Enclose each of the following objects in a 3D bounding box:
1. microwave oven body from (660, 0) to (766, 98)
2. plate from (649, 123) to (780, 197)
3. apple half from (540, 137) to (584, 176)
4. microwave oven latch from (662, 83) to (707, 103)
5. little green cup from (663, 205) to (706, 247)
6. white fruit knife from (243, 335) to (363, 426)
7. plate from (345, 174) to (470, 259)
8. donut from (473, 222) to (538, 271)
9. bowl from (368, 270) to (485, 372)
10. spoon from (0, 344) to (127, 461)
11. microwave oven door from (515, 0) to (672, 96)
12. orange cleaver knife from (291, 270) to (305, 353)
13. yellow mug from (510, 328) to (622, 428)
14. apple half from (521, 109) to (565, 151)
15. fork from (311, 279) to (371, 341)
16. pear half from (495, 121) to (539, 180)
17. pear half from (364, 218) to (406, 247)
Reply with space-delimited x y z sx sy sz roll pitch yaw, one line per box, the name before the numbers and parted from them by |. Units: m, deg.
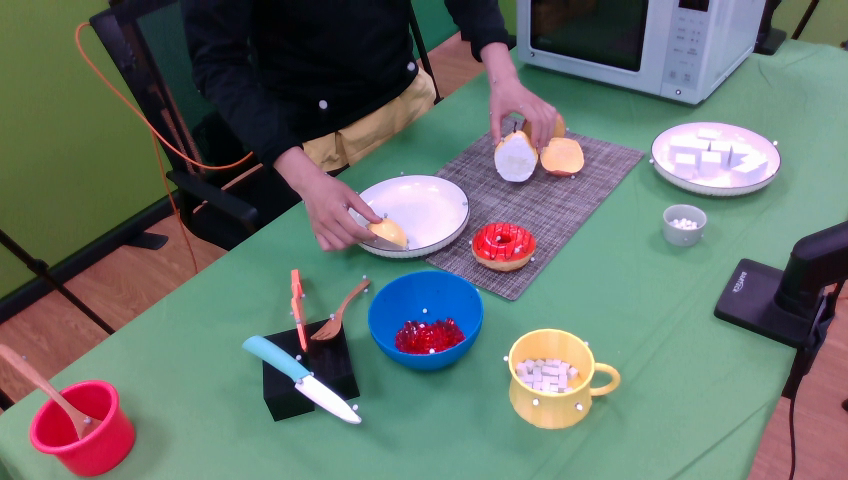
microwave oven body | 0.472 -0.513 1.317 0.438 0.261 0.327 26 51 34
plate | 0.497 -0.135 1.046 0.207 0.039 0.206 -4 40 4
apple half | 0.247 -0.146 1.089 0.081 0.033 0.081 -1 65 3
microwave oven latch | 0.517 -0.296 1.204 0.078 0.029 0.030 27 52 35
little green cup | 0.396 -0.021 0.926 0.061 0.039 0.061 -4 40 4
white fruit knife | -0.148 0.166 0.730 0.206 0.016 0.027 26 80 31
plate | -0.026 -0.037 1.004 0.209 0.038 0.208 -4 40 4
donut | 0.123 0.009 0.923 0.099 0.048 0.098 -3 38 3
bowl | 0.007 0.118 0.791 0.151 0.077 0.150 -5 40 4
spoon | -0.433 0.191 0.721 0.194 0.021 0.042 47 53 -6
microwave oven door | 0.343 -0.455 1.259 0.353 0.245 0.039 26 51 33
orange cleaver knife | -0.175 0.094 0.844 0.012 0.077 0.210 -11 14 -10
yellow mug | 0.168 0.164 0.722 0.130 0.064 0.099 0 40 8
apple half | 0.224 -0.213 1.145 0.080 0.075 0.053 -5 36 9
fork | -0.108 0.092 0.832 0.028 0.019 0.207 -6 19 15
pear half | 0.162 -0.163 1.048 0.076 0.110 0.056 3 40 9
pear half | -0.057 -0.017 0.951 0.031 0.071 0.087 -56 31 6
